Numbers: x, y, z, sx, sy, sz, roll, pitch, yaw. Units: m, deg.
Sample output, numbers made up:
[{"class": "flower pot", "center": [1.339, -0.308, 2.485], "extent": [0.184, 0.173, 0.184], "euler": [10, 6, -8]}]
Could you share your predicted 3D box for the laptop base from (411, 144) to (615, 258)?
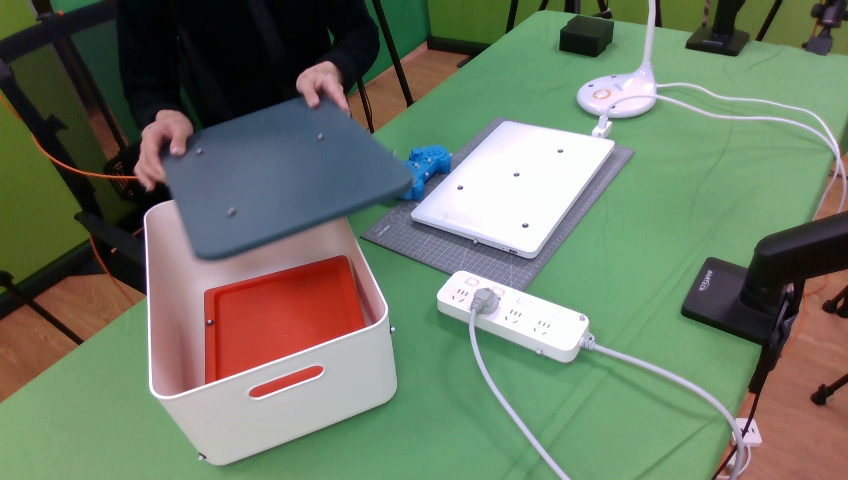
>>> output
[{"class": "laptop base", "center": [0.167, -0.102, 1.074], "extent": [0.234, 0.023, 0.355], "euler": [16, 45, 30]}]

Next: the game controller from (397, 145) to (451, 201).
[{"class": "game controller", "center": [-0.018, -0.130, 1.111], "extent": [0.096, 0.052, 0.155], "euler": [21, 48, 26]}]

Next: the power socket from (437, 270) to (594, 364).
[{"class": "power socket", "center": [0.118, 0.102, 0.830], "extent": [0.225, 0.033, 0.072], "euler": [20, 48, 28]}]

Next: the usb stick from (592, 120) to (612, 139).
[{"class": "usb stick", "center": [0.335, -0.203, 1.149], "extent": [0.021, 0.027, 0.059], "euler": [25, 53, 26]}]

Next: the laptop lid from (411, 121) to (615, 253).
[{"class": "laptop lid", "center": [0.164, -0.112, 1.068], "extent": [0.240, 0.013, 0.357], "euler": [19, 46, 30]}]

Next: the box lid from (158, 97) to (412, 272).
[{"class": "box lid", "center": [-0.198, -0.094, 0.787], "extent": [0.264, 0.015, 0.368], "euler": [-23, 37, -17]}]

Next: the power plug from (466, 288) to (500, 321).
[{"class": "power plug", "center": [0.072, 0.093, 0.813], "extent": [0.073, 0.053, 0.035], "euler": [-37, 49, -28]}]

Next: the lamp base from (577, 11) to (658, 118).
[{"class": "lamp base", "center": [0.406, -0.363, 1.223], "extent": [0.180, 0.181, 0.159], "euler": [-20, 42, -18]}]

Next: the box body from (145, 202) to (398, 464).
[{"class": "box body", "center": [-0.205, 0.080, 0.802], "extent": [0.255, 0.161, 0.361], "euler": [-18, 41, -13]}]
